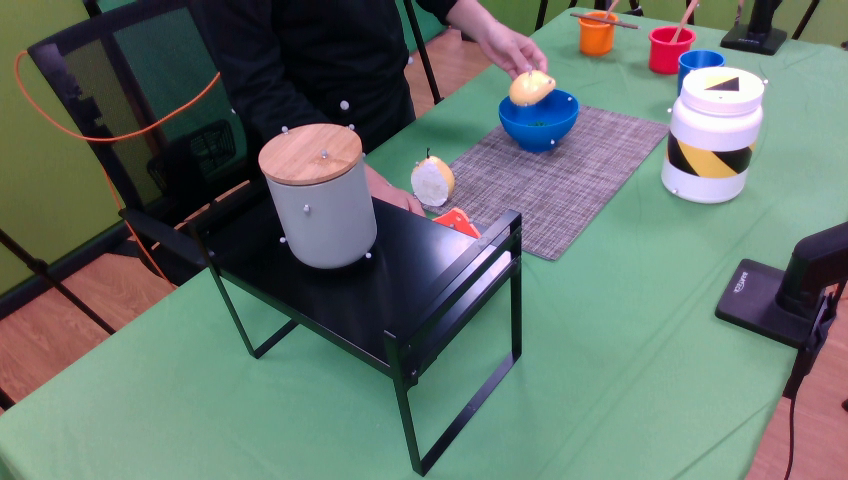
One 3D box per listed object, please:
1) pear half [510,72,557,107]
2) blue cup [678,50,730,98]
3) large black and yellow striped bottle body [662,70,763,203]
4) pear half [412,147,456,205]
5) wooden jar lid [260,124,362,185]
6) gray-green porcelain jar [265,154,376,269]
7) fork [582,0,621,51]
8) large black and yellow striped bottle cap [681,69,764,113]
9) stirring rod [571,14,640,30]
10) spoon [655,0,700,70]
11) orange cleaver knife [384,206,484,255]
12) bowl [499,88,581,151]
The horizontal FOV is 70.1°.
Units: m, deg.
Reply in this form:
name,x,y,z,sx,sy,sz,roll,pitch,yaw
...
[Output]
name,x,y,z,sx,sy,sz,roll,pitch,yaw
pear half,0.198,-0.283,1.115,0.087,0.031,0.070,-3,76,32
blue cup,0.542,-0.310,1.194,0.092,0.101,0.092,-6,41,6
large black and yellow striped bottle body,0.464,-0.166,0.976,0.131,0.185,0.130,-5,41,5
pear half,0.019,-0.120,1.042,0.076,0.110,0.056,11,44,16
wooden jar lid,-0.119,-0.088,0.644,0.108,0.021,0.108,-4,40,3
gray-green porcelain jar,-0.112,-0.039,0.685,0.106,0.127,0.105,-4,40,4
fork,0.446,-0.539,1.438,0.207,0.019,0.028,-57,36,12
large black and yellow striped bottle cap,0.453,-0.229,0.921,0.115,0.019,0.114,-4,39,4
stirring rod,0.419,-0.508,1.404,0.174,0.006,0.014,28,55,35
spoon,0.568,-0.463,1.337,0.041,0.022,0.193,30,97,37
orange cleaver knife,0.011,-0.010,0.942,0.012,0.077,0.210,-37,20,-35
bowl,0.220,-0.222,1.156,0.151,0.077,0.150,-4,40,4
